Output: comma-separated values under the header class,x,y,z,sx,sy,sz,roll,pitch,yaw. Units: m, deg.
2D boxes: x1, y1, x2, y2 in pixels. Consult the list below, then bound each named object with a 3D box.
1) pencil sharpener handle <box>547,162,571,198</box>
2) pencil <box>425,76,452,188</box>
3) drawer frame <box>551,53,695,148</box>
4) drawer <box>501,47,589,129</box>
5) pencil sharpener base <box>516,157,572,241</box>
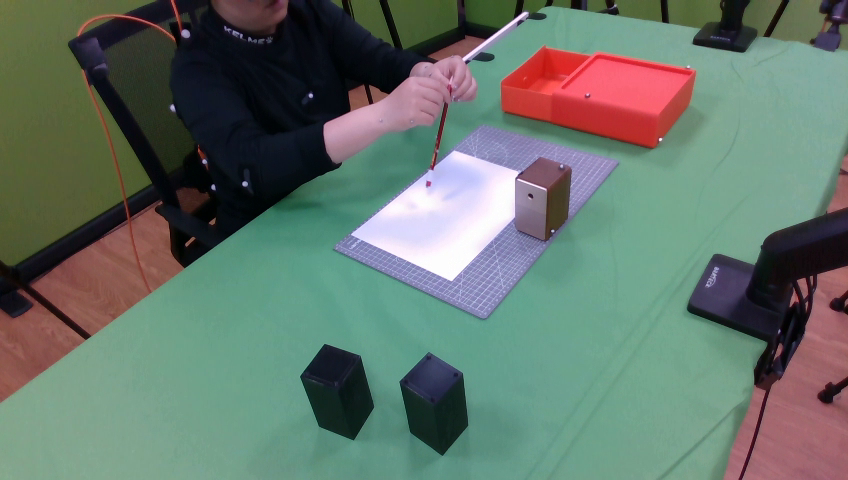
class,x,y,z,sx,sy,sz,roll,pitch,yaw
pencil sharpener handle,0.221,-0.102,0.968,0.035,0.068,0.031,20,46,37
pencil,0.026,-0.184,1.027,0.012,0.194,0.012,12,4,0
drawer frame,0.391,-0.281,1.196,0.212,0.083,0.202,22,48,29
drawer,0.296,-0.316,1.256,0.210,0.073,0.195,22,48,29
pencil sharpener base,0.189,-0.065,0.948,0.061,0.107,0.077,24,49,33
